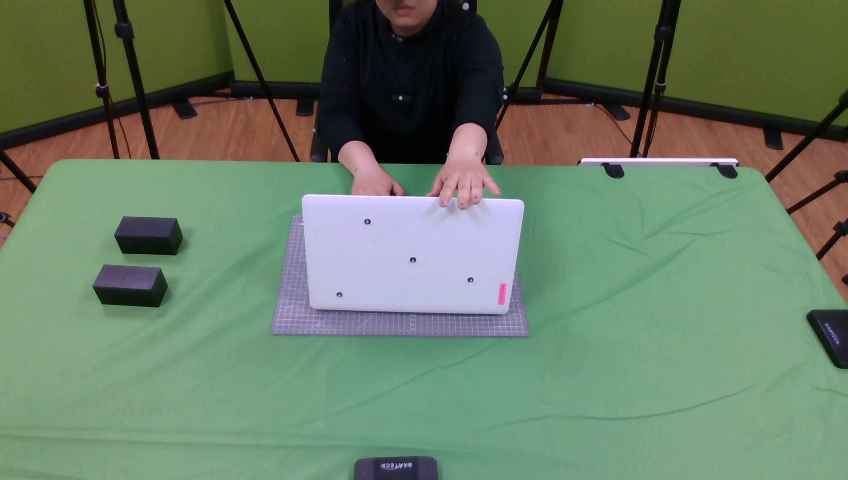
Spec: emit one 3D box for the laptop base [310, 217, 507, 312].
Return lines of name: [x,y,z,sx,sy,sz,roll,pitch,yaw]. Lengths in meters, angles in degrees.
laptop base: [-0.028,0.045,1.154,0.354,0.023,0.234,2,42,-3]

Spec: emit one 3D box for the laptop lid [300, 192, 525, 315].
laptop lid: [-0.021,0.030,1.002,0.357,0.242,0.013,3,33,-4]
